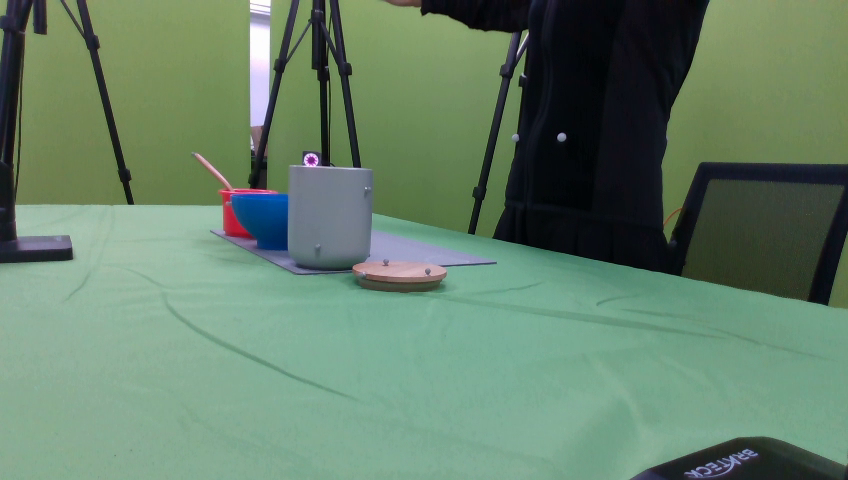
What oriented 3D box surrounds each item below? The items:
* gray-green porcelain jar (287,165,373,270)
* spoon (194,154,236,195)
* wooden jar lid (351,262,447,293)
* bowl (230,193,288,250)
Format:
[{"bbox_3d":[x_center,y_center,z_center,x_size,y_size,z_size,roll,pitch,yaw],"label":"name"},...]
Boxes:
[{"bbox_3d":[-0.119,-0.029,0.767,0.106,0.126,0.106,2,7,0],"label":"gray-green porcelain jar"},{"bbox_3d":[-0.334,-0.083,1.042,0.193,0.021,0.042,50,23,11],"label":"spoon"},{"bbox_3d":[-0.028,0.042,0.686,0.108,0.020,0.108,3,8,0],"label":"wooden jar lid"},{"bbox_3d":[-0.214,-0.028,0.912,0.151,0.077,0.151,2,8,0],"label":"bowl"}]
